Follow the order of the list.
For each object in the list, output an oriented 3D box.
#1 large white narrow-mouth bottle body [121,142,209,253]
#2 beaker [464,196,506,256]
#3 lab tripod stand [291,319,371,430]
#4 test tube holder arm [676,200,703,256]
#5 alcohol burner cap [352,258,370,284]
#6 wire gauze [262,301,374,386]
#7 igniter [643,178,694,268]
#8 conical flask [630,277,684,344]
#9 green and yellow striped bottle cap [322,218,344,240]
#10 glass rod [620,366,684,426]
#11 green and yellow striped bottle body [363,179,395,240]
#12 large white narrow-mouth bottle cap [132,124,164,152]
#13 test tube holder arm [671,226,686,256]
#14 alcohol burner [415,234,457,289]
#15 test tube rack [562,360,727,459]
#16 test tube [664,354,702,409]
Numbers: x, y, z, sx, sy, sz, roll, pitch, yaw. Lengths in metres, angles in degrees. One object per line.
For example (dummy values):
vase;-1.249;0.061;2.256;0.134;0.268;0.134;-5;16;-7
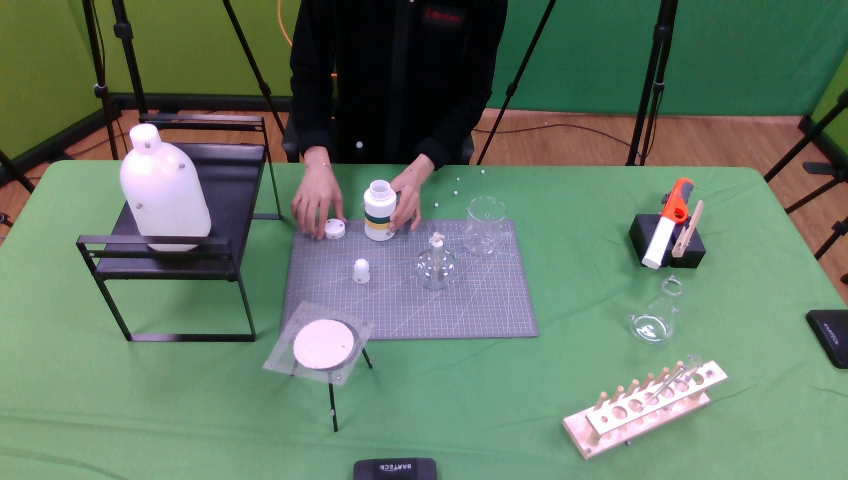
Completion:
large white narrow-mouth bottle body;-0.378;-0.077;0.875;0.102;0.195;0.101;3;46;-3
beaker;0.117;-0.026;1.174;0.074;0.101;0.083;21;48;15
lab tripod stand;-0.146;0.193;0.923;0.148;0.132;0.147;1;47;-1
test tube holder arm;0.523;-0.025;1.190;0.013;0.015;0.178;1;36;41
alcohol burner cap;-0.117;0.055;1.118;0.034;0.048;0.033;2;46;-2
wire gauze;-0.150;0.148;0.873;0.121;0.011;0.124;14;46;12
igniter;0.488;-0.042;1.205;0.057;0.025;0.276;30;51;11
conical flask;0.408;0.117;1.045;0.075;0.122;0.075;2;46;-2
green and yellow striped bottle cap;-0.181;-0.022;1.206;0.045;0.020;0.045;2;45;-2
glass rod;0.322;0.227;0.866;0.008;0.200;0.008;6;51;-7
green and yellow striped bottle body;-0.087;-0.061;1.177;0.063;0.120;0.063;2;46;-2
large white narrow-mouth bottle cap;-0.370;-0.138;0.812;0.038;0.024;0.037;3;46;-3
test tube holder arm;0.494;0.001;1.166;0.010;0.015;0.087;1;36;42
alcohol burner;0.022;0.033;1.100;0.078;0.120;0.077;1;47;-1
test tube rack;0.341;0.247;0.940;0.243;0.085;0.066;-16;49;-18
test tube;0.385;0.215;0.906;0.017;0.151;0.017;-1;49;1
